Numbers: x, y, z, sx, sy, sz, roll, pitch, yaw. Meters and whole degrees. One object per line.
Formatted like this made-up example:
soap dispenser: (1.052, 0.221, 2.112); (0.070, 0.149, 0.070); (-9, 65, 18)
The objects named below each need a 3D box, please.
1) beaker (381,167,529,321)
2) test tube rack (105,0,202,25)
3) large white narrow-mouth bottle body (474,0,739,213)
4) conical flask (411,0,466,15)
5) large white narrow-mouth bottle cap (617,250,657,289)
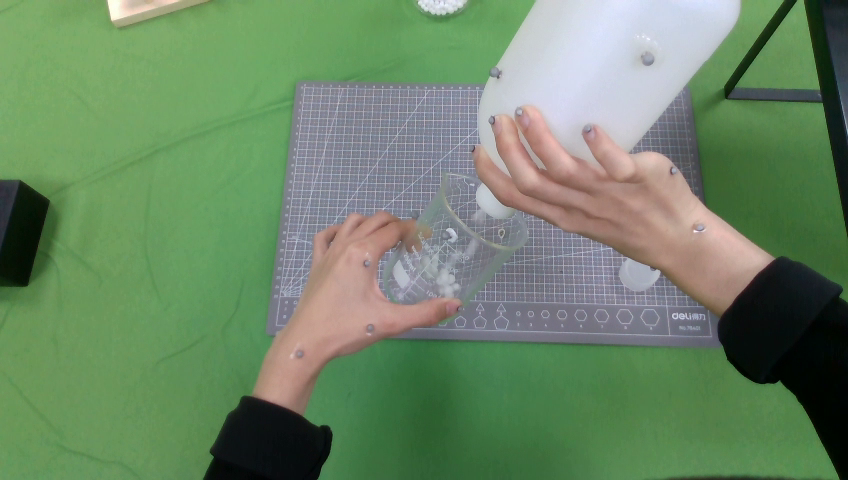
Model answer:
beaker: (0.017, 0.006, 0.456); (0.074, 0.100, 0.083); (-16, 61, -50)
test tube rack: (-0.278, -0.344, 0.724); (0.242, 0.086, 0.066); (-19, 70, -5)
large white narrow-mouth bottle body: (0.090, -0.094, 0.380); (0.102, 0.195, 0.101); (21, 39, -17)
conical flask: (0.016, -0.324, 0.689); (0.075, 0.122, 0.075); (-1, 70, 2)
large white narrow-mouth bottle cap: (0.213, 0.031, 0.608); (0.038, 0.024, 0.037); (-1, 71, 3)
